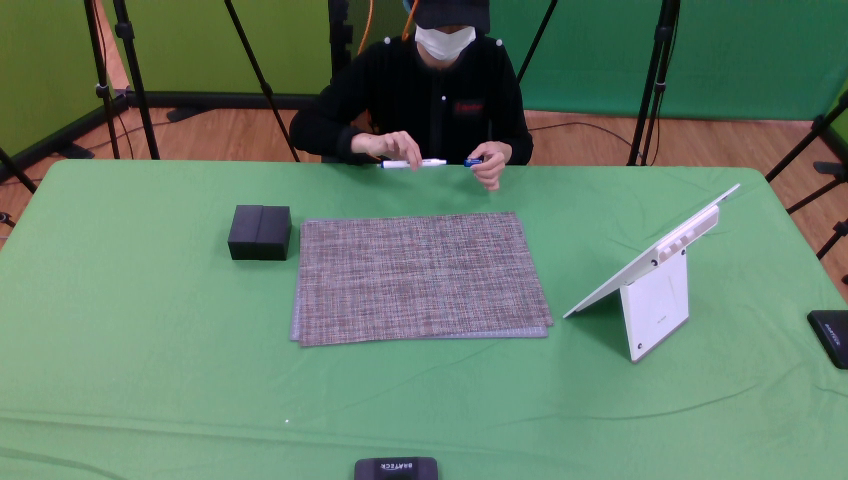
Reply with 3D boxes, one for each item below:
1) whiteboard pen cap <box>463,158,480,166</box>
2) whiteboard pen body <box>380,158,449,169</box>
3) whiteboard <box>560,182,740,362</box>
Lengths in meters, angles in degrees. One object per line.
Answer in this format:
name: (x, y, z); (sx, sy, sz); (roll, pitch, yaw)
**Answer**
whiteboard pen cap: (0.098, -0.161, 1.253); (0.033, 0.018, 0.018); (-4, 46, -17)
whiteboard pen body: (-0.019, -0.155, 1.221); (0.141, 0.017, 0.017); (-3, 46, 3)
whiteboard: (0.406, 0.075, 1.001); (0.217, 0.306, 0.143); (-28, 73, -28)
